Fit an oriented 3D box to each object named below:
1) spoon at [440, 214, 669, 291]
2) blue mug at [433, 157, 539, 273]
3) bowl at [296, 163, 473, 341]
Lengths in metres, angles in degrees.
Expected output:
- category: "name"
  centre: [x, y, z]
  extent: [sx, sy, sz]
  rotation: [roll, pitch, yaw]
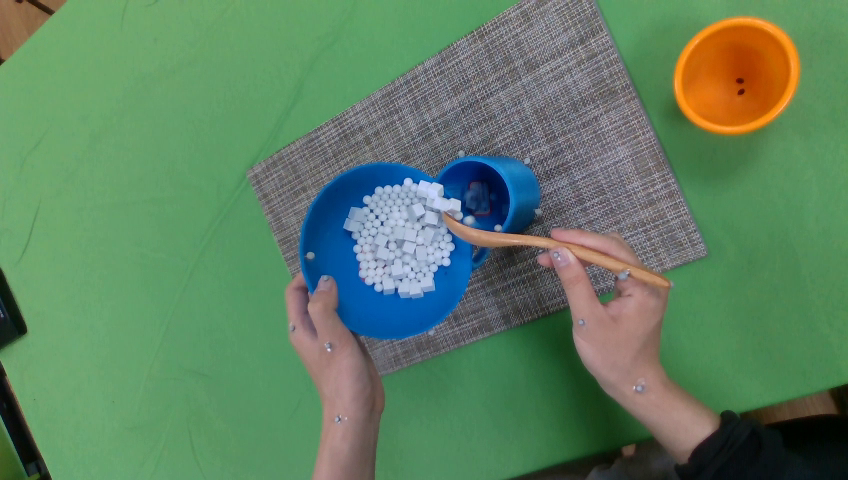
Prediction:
- category: "spoon"
  centre: [0.090, 0.007, 0.463]
  extent: [0.192, 0.042, 0.021]
  rotation: [13, 79, 35]
- category: "blue mug"
  centre: [0.057, -0.023, 0.596]
  extent: [0.082, 0.106, 0.117]
  rotation: [16, 104, 20]
- category: "bowl"
  centre: [-0.041, 0.015, 0.534]
  extent: [0.152, 0.077, 0.151]
  rotation: [3, 80, -18]
